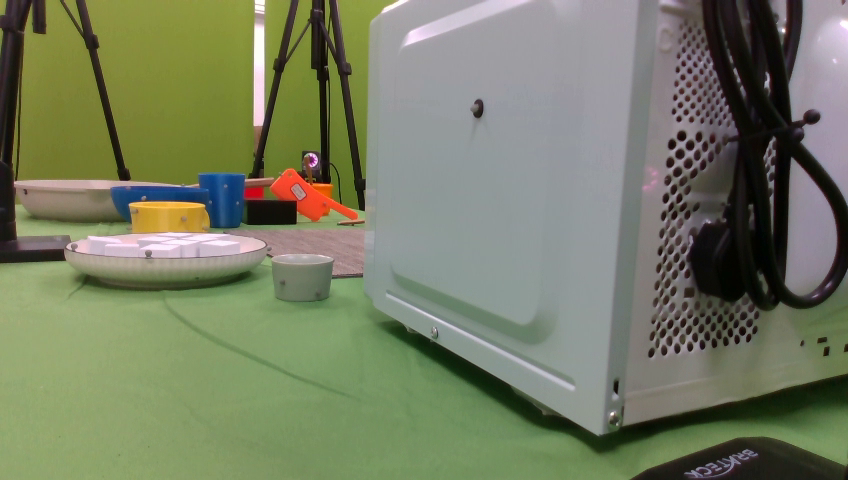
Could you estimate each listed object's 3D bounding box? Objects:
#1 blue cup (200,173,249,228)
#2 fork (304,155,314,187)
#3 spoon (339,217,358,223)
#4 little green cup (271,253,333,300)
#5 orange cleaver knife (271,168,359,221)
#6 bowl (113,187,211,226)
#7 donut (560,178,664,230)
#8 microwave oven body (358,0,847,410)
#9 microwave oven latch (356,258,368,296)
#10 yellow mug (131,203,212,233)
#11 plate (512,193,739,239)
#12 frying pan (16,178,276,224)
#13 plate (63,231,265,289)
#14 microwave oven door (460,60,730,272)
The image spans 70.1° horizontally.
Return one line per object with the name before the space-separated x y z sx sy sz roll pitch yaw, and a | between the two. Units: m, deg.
blue cup | -0.381 -0.076 1.154 0.093 0.100 0.092 0 8 0
fork | -0.268 -0.134 1.446 0.028 0.018 0.207 1 -36 -1
spoon | -0.087 -0.041 1.268 0.193 0.021 0.041 4 24 13
little green cup | -0.122 0.036 0.604 0.061 0.038 0.061 3 6 0
orange cleaver knife | -0.236 -0.084 1.333 0.212 0.077 0.012 31 -10 -32
bowl | -0.436 -0.046 1.013 0.151 0.077 0.151 2 7 0
donut | 0.184 -0.034 0.595 0.099 0.048 0.099 -3 -3 0
microwave oven body | 0.210 -0.051 0.471 0.444 0.260 0.324 -1 7 -28
microwave oven latch | -0.019 0.031 0.528 0.079 0.029 0.030 -1 7 -24
yellow mug | -0.356 -0.020 0.878 0.099 0.064 0.131 4 7 22
plate | 0.191 -0.022 0.588 0.209 0.038 0.209 -1 1 0
frying pan | -0.553 -0.096 1.265 0.490 0.102 0.305 -10 13 -24
plate | -0.288 0.021 0.687 0.208 0.039 0.207 2 8 0
microwave oven door | 0.203 -0.100 0.803 0.354 0.243 0.039 7 9 39
